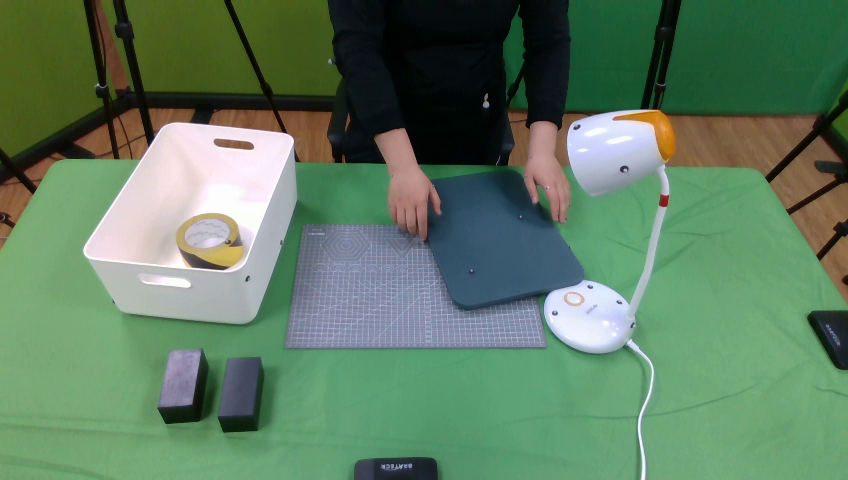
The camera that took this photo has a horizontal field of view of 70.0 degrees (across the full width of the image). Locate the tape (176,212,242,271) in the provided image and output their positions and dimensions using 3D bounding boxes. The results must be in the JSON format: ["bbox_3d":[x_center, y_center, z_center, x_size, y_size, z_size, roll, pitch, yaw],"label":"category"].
[{"bbox_3d":[-0.401,0.005,1.133,0.117,0.053,0.116,2,46,-2],"label":"tape"}]

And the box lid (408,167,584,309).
[{"bbox_3d":[0.134,-0.019,1.223,0.263,0.015,0.369,-11,45,-12],"label":"box lid"}]

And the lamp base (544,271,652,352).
[{"bbox_3d":[0.310,0.086,1.029,0.178,0.181,0.160,32,52,21],"label":"lamp base"}]

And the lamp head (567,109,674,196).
[{"bbox_3d":[0.272,-0.123,0.818,0.122,0.113,0.112,-9,35,37],"label":"lamp head"}]

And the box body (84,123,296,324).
[{"bbox_3d":[-0.392,-0.035,1.104,0.254,0.161,0.362,5,46,1],"label":"box body"}]
